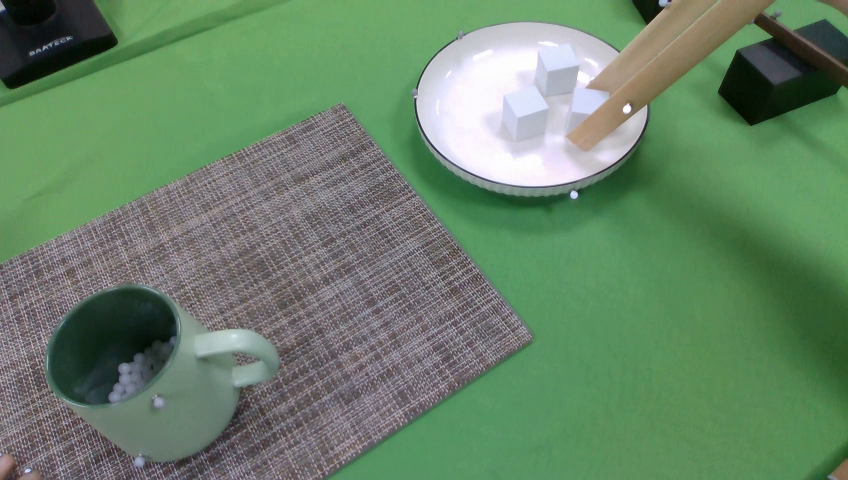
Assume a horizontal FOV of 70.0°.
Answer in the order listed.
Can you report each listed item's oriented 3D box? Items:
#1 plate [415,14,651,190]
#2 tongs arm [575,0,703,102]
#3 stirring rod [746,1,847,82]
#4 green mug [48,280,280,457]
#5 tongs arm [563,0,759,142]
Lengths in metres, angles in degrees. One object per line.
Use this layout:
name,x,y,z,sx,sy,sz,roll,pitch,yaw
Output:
plate,0.097,-0.126,0.555,0.207,0.039,0.205,-1,58,2
tongs arm,0.220,-0.193,0.389,0.026,0.385,0.050,31,56,-9
stirring rod,0.332,-0.170,0.525,0.006,0.014,0.174,-27,60,-17
green mug,-0.158,0.082,0.394,0.125,0.106,0.091,-10,57,-4
tongs arm,0.208,-0.169,0.374,0.028,0.388,0.028,34,57,-7
